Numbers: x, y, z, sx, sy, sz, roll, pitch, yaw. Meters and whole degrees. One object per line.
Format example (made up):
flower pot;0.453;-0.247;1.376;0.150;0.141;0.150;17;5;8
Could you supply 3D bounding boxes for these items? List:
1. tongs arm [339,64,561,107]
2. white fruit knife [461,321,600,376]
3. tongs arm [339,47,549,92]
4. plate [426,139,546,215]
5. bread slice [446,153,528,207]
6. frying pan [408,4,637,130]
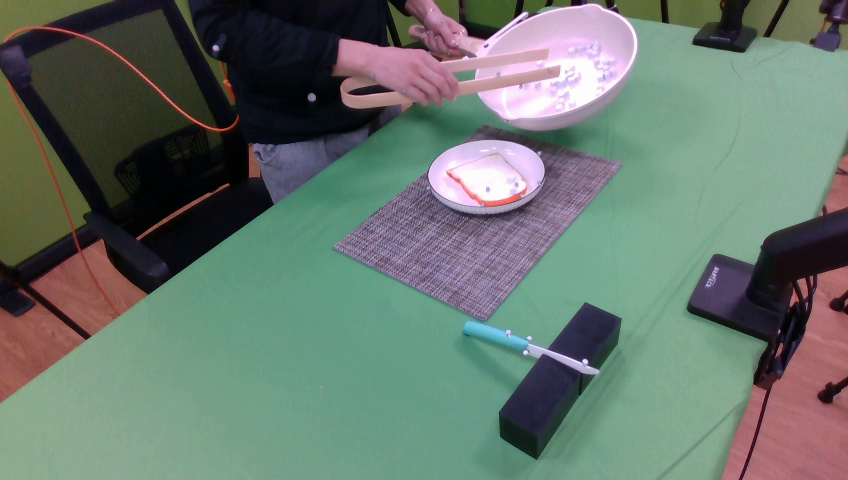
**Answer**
tongs arm;0.049;-0.273;1.042;0.386;0.026;0.050;-13;52;-11
white fruit knife;0.126;0.133;0.752;0.205;0.027;0.016;12;45;42
tongs arm;0.041;-0.299;1.065;0.389;0.028;0.028;-12;55;-11
plate;0.109;-0.107;1.058;0.207;0.039;0.206;-4;40;4
bread slice;0.118;-0.104;1.057;0.107;0.018;0.133;-24;41;-17
frying pan;0.162;-0.353;1.162;0.484;0.103;0.307;28;69;29
